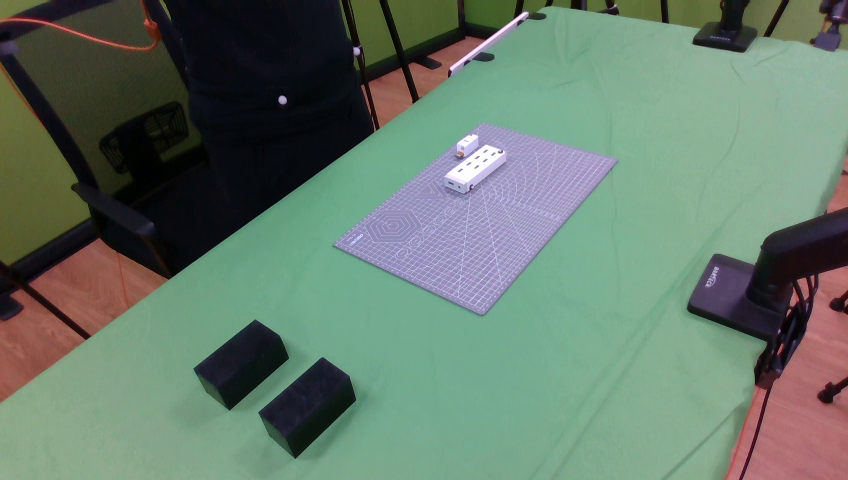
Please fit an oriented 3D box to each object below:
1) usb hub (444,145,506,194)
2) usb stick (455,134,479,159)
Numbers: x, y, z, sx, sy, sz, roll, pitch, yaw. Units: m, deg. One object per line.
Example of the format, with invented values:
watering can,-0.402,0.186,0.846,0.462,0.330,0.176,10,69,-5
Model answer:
usb hub,0.095,-0.129,1.101,0.049,0.025,0.125,27,51,33
usb stick,0.080,-0.177,1.159,0.021,0.027,0.059,24,52,33
